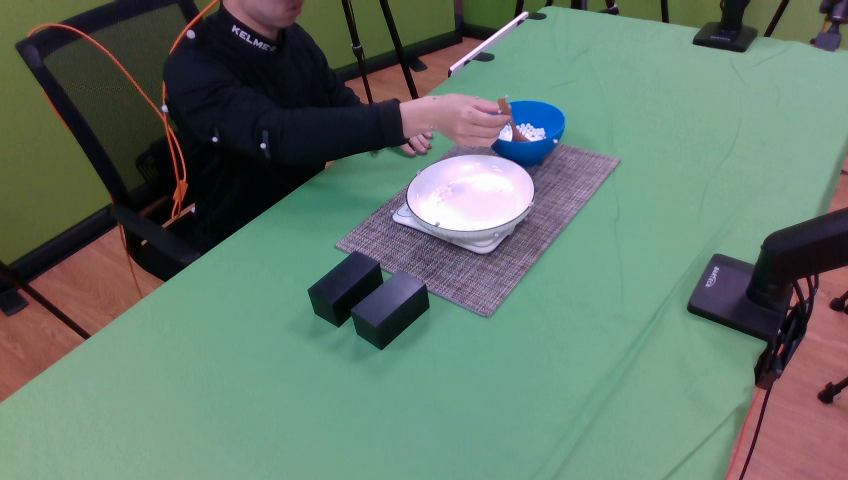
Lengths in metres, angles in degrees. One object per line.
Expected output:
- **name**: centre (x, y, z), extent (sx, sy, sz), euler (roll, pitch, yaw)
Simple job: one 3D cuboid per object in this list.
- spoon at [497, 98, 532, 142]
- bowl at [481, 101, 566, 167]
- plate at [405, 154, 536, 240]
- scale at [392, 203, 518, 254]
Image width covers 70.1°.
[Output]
- **spoon**: centre (0.148, -0.191, 1.013), extent (0.041, 0.195, 0.021), euler (-11, 68, 18)
- **bowl**: centre (0.183, -0.186, 1.111), extent (0.151, 0.077, 0.150), euler (-4, 40, 4)
- **plate**: centre (0.075, -0.067, 0.973), extent (0.209, 0.038, 0.208), euler (-4, 41, 4)
- **scale**: centre (0.061, -0.051, 1.006), extent (0.199, 0.032, 0.149), euler (22, 48, 30)
